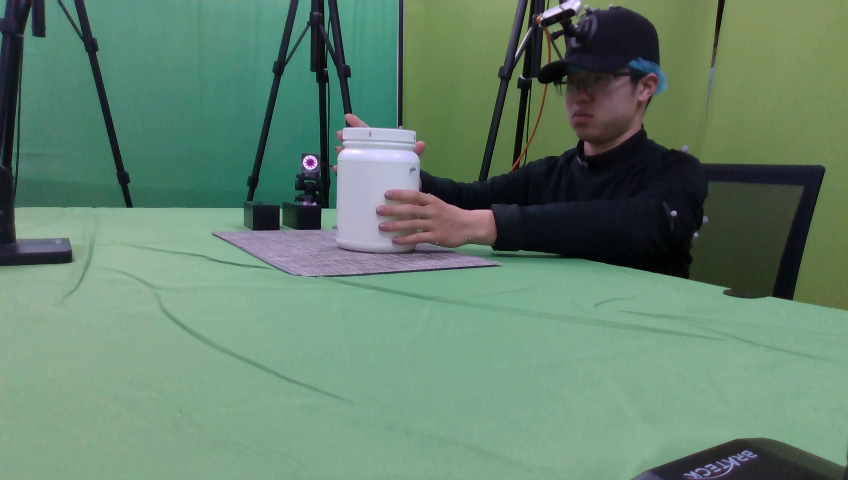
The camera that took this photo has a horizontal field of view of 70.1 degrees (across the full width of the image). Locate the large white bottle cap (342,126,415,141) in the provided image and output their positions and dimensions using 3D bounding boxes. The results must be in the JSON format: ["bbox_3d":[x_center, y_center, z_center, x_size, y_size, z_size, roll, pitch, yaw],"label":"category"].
[{"bbox_3d":[-0.071,-0.165,0.942,0.115,0.018,0.115,2,7,0],"label":"large white bottle cap"}]

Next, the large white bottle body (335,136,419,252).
[{"bbox_3d":[-0.073,-0.080,0.953,0.131,0.184,0.130,2,8,0],"label":"large white bottle body"}]
